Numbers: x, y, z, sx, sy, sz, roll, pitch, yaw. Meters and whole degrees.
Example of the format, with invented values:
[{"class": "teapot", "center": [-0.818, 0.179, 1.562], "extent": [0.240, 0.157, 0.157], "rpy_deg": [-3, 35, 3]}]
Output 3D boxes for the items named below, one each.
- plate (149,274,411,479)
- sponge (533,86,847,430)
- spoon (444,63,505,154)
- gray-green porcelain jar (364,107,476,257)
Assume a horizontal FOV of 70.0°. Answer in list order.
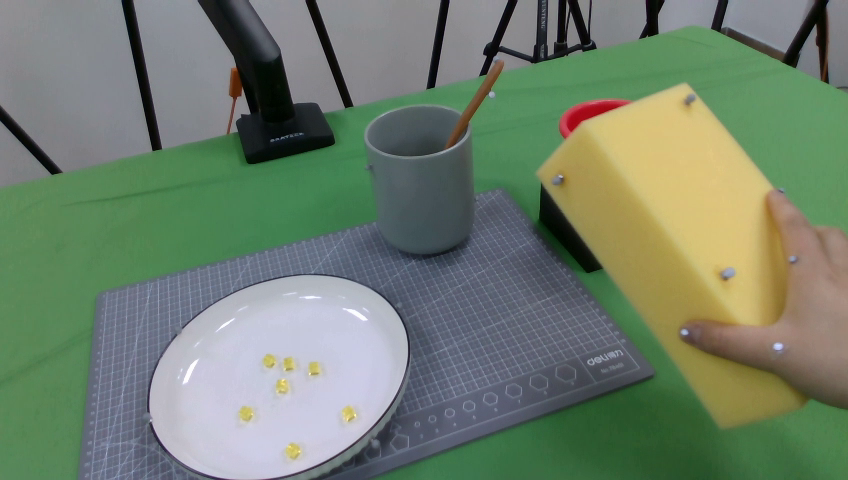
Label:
[{"class": "plate", "center": [-0.112, 0.110, 0.498], "extent": [0.207, 0.039, 0.205], "rpy_deg": [-3, 39, 3]}, {"class": "sponge", "center": [0.185, 0.004, 0.406], "extent": [0.118, 0.061, 0.206], "rpy_deg": [-27, 76, -33]}, {"class": "spoon", "center": [0.028, -0.085, 0.592], "extent": [0.022, 0.194, 0.041], "rpy_deg": [17, 31, -16]}, {"class": "gray-green porcelain jar", "center": [-0.001, -0.054, 0.617], "extent": [0.106, 0.128, 0.105], "rpy_deg": [-3, 39, 3]}]
